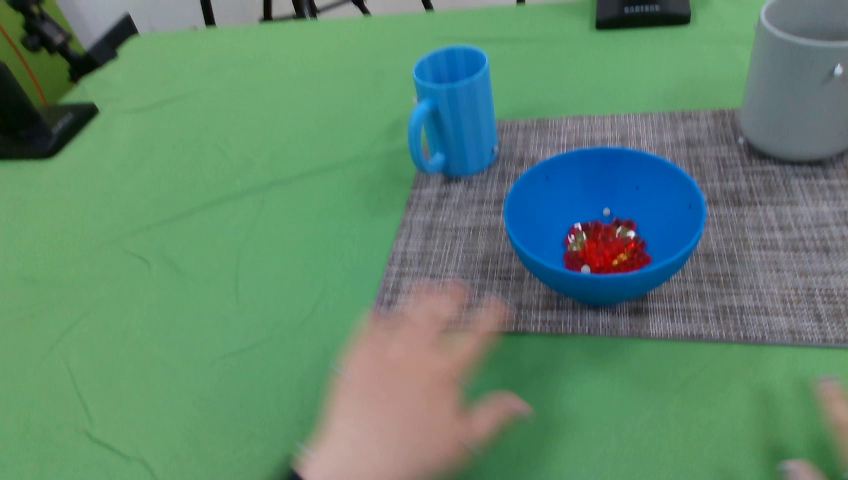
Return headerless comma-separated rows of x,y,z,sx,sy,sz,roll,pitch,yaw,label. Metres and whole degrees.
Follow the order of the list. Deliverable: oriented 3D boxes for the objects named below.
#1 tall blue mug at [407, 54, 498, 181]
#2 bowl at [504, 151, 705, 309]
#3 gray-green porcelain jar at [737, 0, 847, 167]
0.032,-0.116,0.625,0.077,0.109,0.106,1,45,14,tall blue mug
0.143,0.003,0.495,0.151,0.077,0.150,-7,43,7,bowl
0.351,-0.140,0.554,0.106,0.128,0.105,-7,44,7,gray-green porcelain jar
